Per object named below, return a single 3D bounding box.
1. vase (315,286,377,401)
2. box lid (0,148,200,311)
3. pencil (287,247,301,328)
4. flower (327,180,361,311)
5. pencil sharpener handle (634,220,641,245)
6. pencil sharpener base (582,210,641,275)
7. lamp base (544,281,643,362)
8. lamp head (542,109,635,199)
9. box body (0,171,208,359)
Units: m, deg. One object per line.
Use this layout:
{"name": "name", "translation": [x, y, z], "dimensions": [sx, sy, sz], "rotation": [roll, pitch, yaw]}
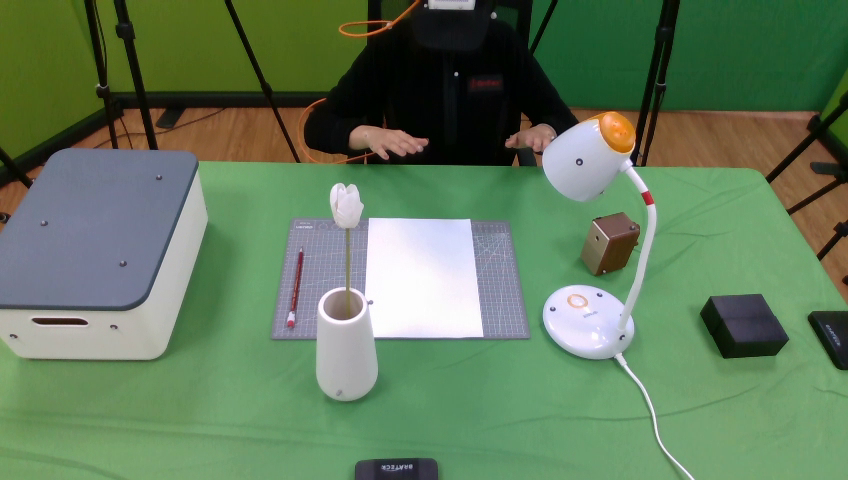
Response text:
{"name": "vase", "translation": [-0.119, 0.159, 0.911], "dimensions": [0.098, 0.201, 0.097], "rotation": [2, 47, -2]}
{"name": "box lid", "translation": [-0.536, -0.034, 0.989], "dimensions": [0.263, 0.015, 0.369], "rotation": [1, 45, -3]}
{"name": "pencil", "translation": [-0.236, 0.081, 1.107], "dimensions": [0.012, 0.012, 0.193], "rotation": [0, 45, -4]}
{"name": "flower", "translation": [-0.110, 0.086, 0.867], "dimensions": [0.044, 0.363, 0.038], "rotation": [22, 33, 36]}
{"name": "pencil sharpener handle", "translation": [0.405, -0.015, 1.161], "dimensions": [0.031, 0.068, 0.035], "rotation": [-15, 44, -18]}
{"name": "pencil sharpener base", "translation": [0.357, 0.005, 1.155], "dimensions": [0.077, 0.107, 0.061], "rotation": [-15, 48, -18]}
{"name": "lamp base", "translation": [0.303, 0.095, 1.014], "dimensions": [0.161, 0.181, 0.178], "rotation": [-24, 54, -24]}
{"name": "lamp head", "translation": [0.253, -0.131, 0.893], "dimensions": [0.113, 0.123, 0.112], "rotation": [10, 66, -24]}
{"name": "box body", "translation": [-0.541, 0.021, 1.042], "dimensions": [0.254, 0.161, 0.361], "rotation": [1, 46, -3]}
